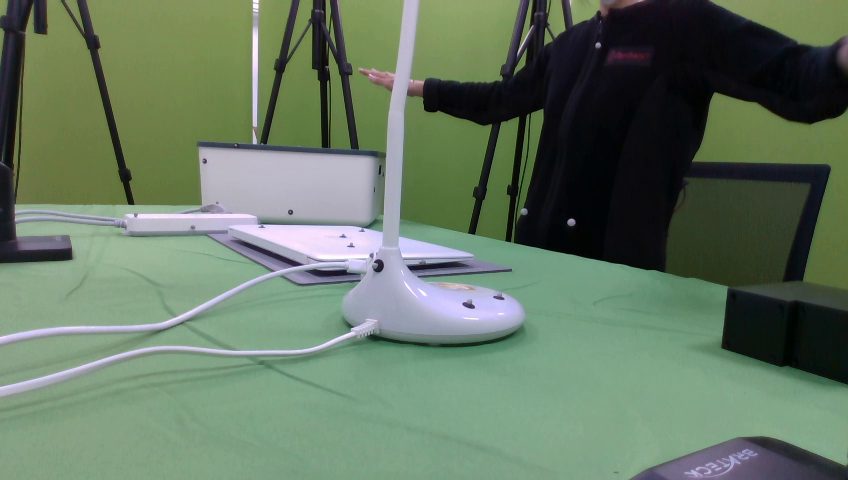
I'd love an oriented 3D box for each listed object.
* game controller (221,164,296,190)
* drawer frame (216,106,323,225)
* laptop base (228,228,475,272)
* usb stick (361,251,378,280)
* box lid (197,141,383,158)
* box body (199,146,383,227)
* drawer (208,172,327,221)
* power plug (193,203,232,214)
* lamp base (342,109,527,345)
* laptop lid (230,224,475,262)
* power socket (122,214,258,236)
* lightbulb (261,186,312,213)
[{"bbox_3d":[-0.363,-0.139,1.317,0.156,0.051,0.096,-1,10,-24],"label":"game controller"},{"bbox_3d":[-0.311,-0.142,1.311,0.082,0.213,0.202,21,-19,29],"label":"drawer frame"},{"bbox_3d":[-0.122,0.011,0.889,0.237,0.023,0.352,2,6,-35],"label":"laptop base"},{"bbox_3d":[-0.051,0.033,0.656,0.027,0.021,0.059,4,-27,-21],"label":"usb stick"},{"bbox_3d":[-0.275,-0.197,1.326,0.372,0.015,0.263,4,8,1],"label":"box lid"},{"bbox_3d":[-0.276,-0.124,1.334,0.364,0.160,0.254,3,7,1],"label":"box body"},{"bbox_3d":[-0.334,-0.101,1.326,0.212,0.073,0.194,8,11,-1],"label":"drawer"},{"bbox_3d":[-0.394,-0.043,1.139,0.072,0.052,0.035,-13,2,31],"label":"power plug"},{"bbox_3d":[0.006,-0.015,0.505,0.160,0.180,0.180,6,11,29],"label":"lamp base"},{"bbox_3d":[-0.119,0.000,0.889,0.243,0.013,0.355,1,7,-33],"label":"laptop lid"},{"bbox_3d":[-0.398,-0.028,1.049,0.228,0.032,0.072,-3,8,-34],"label":"power socket"},{"bbox_3d":[-0.294,-0.082,1.293,0.108,0.059,0.059,-14,13,-20],"label":"lightbulb"}]
